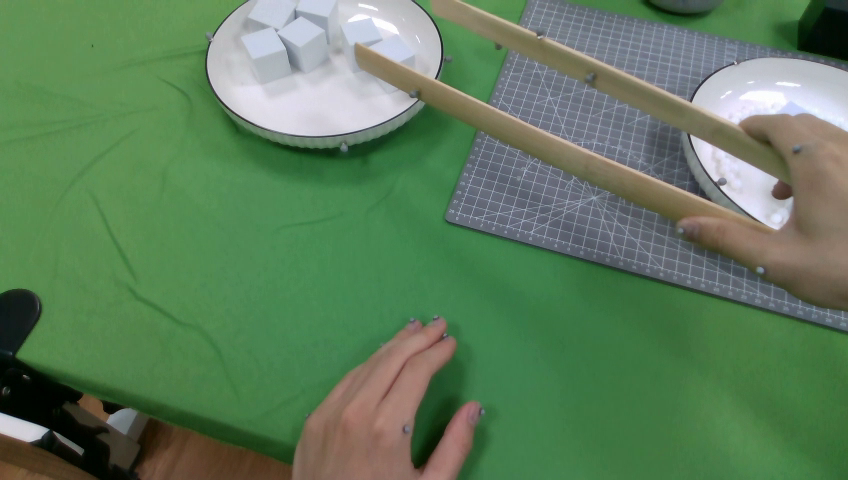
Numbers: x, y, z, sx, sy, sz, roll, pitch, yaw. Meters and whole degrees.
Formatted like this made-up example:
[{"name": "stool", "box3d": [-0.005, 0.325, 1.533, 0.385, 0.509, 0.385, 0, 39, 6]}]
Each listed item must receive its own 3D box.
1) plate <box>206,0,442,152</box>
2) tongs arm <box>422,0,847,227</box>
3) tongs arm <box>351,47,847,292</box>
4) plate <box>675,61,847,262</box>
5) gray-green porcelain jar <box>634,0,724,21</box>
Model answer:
[{"name": "plate", "box3d": [-0.088, -0.155, 0.551, 0.208, 0.039, 0.205, 1, 57, -1]}, {"name": "tongs arm", "box3d": [0.128, -0.092, 0.429, 0.381, 0.027, 0.050, 33, 63, 27]}, {"name": "tongs arm", "box3d": [0.094, -0.061, 0.410, 0.384, 0.028, 0.028, 30, 58, 25]}, {"name": "plate", "box3d": [0.309, -0.063, 0.496, 0.209, 0.038, 0.207, 0, 57, 0]}, {"name": "gray-green porcelain jar", "box3d": [0.264, -0.293, 0.595, 0.106, 0.127, 0.105, 0, 57, 0]}]
